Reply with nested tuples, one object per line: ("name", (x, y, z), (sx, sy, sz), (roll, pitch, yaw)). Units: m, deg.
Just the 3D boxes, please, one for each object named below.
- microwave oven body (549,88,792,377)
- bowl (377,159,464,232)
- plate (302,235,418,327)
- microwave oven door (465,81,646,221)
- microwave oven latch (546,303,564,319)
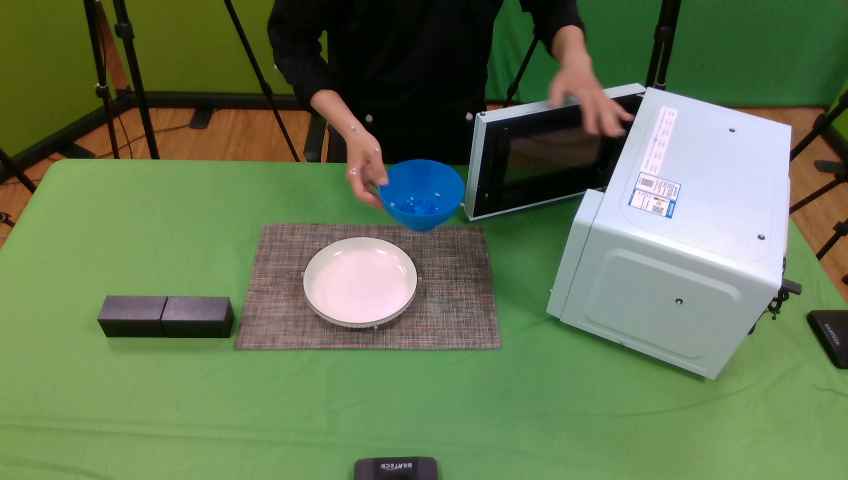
("microwave oven body", (0.456, -0.028, 1.088), (0.325, 0.261, 0.440), (20, 47, 16))
("bowl", (-0.007, -0.068, 1.076), (0.151, 0.077, 0.150), (1, 46, -1))
("plate", (-0.114, 0.077, 1.098), (0.208, 0.039, 0.206), (2, 46, -2))
("microwave oven door", (0.259, -0.176, 1.208), (0.356, 0.245, 0.039), (-15, 48, -16))
("microwave oven latch", (0.242, 0.102, 1.081), (0.030, 0.029, 0.079), (21, 48, 17))
